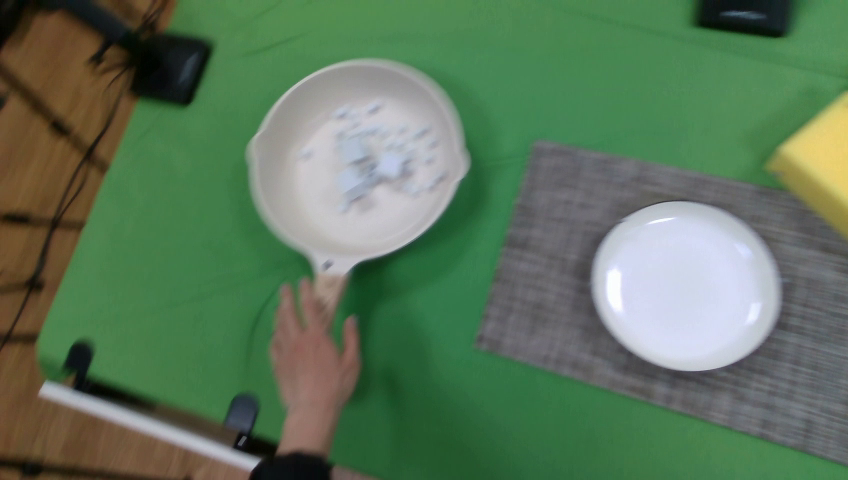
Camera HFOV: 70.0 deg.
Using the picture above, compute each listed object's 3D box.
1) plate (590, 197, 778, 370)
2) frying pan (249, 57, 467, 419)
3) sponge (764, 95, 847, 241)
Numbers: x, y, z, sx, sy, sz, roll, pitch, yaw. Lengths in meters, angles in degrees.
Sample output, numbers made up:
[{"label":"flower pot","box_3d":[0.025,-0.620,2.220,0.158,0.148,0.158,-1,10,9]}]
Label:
[{"label":"plate","box_3d":[0.306,0.052,0.728,0.207,0.039,0.206,-3,74,11]},{"label":"frying pan","box_3d":[-0.110,-0.012,0.795,0.306,0.103,0.485,8,68,14]},{"label":"sponge","box_3d":[0.529,-0.061,0.705,0.118,0.061,0.205,-39,70,-3]}]
